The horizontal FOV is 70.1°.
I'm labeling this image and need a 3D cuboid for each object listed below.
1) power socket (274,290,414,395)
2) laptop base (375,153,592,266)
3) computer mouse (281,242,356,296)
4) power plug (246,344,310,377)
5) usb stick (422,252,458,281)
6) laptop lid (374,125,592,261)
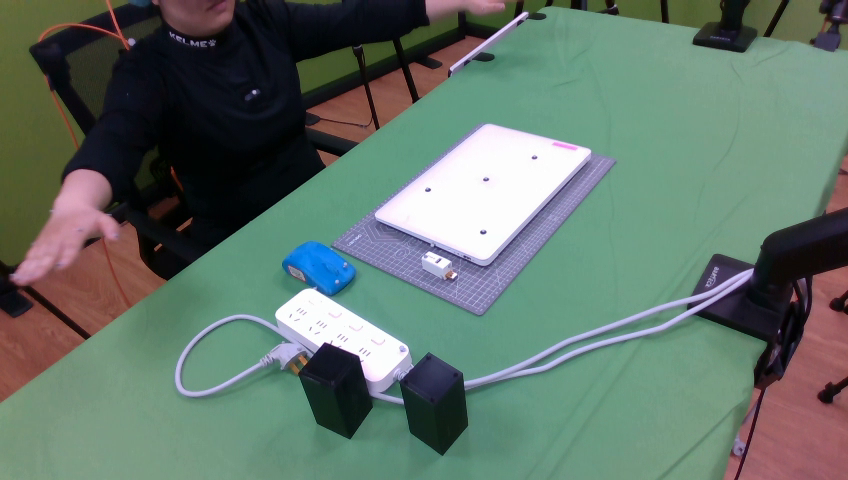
[{"bbox_3d":[-0.114,0.134,0.820,0.225,0.033,0.072,25,49,33],"label":"power socket"},{"bbox_3d":[0.112,-0.091,1.063,0.233,0.023,0.355,21,47,34],"label":"laptop base"},{"bbox_3d":[-0.164,0.041,0.934,0.116,0.041,0.063,27,48,28],"label":"computer mouse"},{"bbox_3d":[-0.187,0.168,0.798,0.072,0.035,0.052,-41,70,-6],"label":"power plug"},{"bbox_3d":[0.025,0.042,0.908,0.058,0.027,0.021,27,49,31],"label":"usb stick"},{"bbox_3d":[0.109,-0.101,1.057,0.239,0.013,0.358,23,48,34],"label":"laptop lid"}]
